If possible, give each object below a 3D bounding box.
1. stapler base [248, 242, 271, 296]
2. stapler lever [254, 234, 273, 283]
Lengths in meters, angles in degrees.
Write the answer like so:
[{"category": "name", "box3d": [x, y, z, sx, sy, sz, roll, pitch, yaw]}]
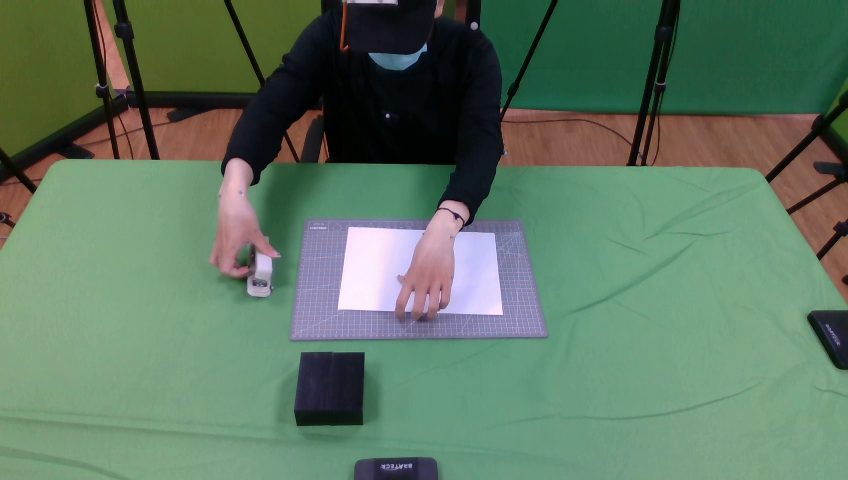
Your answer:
[{"category": "stapler base", "box3d": [-0.303, 0.046, 1.119, 0.041, 0.024, 0.129, 10, 40, -26]}, {"category": "stapler lever", "box3d": [-0.294, 0.027, 1.105, 0.027, 0.040, 0.117, 10, 40, -25]}]
